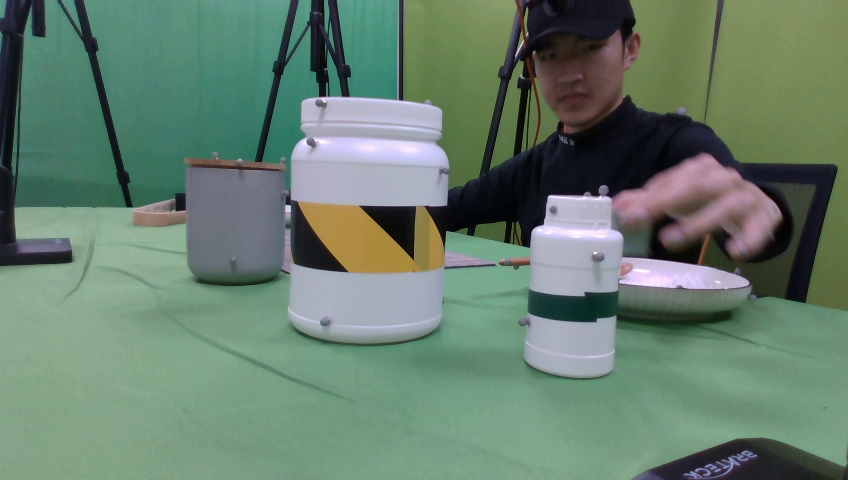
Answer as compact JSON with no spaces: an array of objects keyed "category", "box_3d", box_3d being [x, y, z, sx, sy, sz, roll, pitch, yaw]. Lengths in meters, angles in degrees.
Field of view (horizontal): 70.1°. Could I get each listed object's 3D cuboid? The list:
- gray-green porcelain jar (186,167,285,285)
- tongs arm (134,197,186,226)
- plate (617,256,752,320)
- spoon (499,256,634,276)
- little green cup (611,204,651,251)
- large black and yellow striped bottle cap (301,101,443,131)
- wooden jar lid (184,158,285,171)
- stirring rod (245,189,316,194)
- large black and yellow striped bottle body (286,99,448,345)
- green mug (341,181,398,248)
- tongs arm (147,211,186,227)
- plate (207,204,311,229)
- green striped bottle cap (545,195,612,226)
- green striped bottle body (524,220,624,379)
[{"category":"gray-green porcelain jar","box_3d":[-0.212,-0.017,0.682,0.106,0.126,0.106,2,7,0]},{"category":"tongs arm","box_3d":[-0.556,-0.066,1.320,0.051,0.026,0.384,7,7,-5]},{"category":"plate","box_3d":[0.234,0.049,0.651,0.209,0.038,0.209,2,7,0]},{"category":"spoon","box_3d":[0.162,0.027,0.679,0.195,0.021,0.041,8,2,-30]},{"category":"little green cup","box_3d":[0.163,-0.011,0.520,0.061,0.038,0.061,0,5,0]},{"category":"large black and yellow striped bottle cap","box_3d":[-0.042,-0.100,0.491,0.115,0.019,0.115,1,8,0]},{"category":"wooden jar lid","box_3d":[-0.210,-0.078,0.674,0.108,0.020,0.108,5,6,0]},{"category":"stirring rod","box_3d":[-0.351,-0.120,1.489,0.177,0.014,0.006,-2,5,-29]},{"category":"large black and yellow striped bottle body","box_3d":[-0.047,-0.018,0.501,0.131,0.184,0.130,2,7,0]},{"category":"green mug","box_3d":[-0.089,-0.044,0.997,0.093,0.105,0.125,1,7,-8]},{"category":"tongs arm","box_3d":[-0.478,-0.059,1.322,0.028,0.028,0.388,12,8,7]},{"category":"plate","box_3d":[-0.342,-0.050,1.259,0.208,0.039,0.207,2,7,0]},{"category":"green striped bottle cap","box_3d":[0.106,-0.020,0.414,0.044,0.020,0.044,2,4,0]},{"category":"green striped bottle body","box_3d":[0.104,0.031,0.422,0.063,0.119,0.063,2,7,0]}]
